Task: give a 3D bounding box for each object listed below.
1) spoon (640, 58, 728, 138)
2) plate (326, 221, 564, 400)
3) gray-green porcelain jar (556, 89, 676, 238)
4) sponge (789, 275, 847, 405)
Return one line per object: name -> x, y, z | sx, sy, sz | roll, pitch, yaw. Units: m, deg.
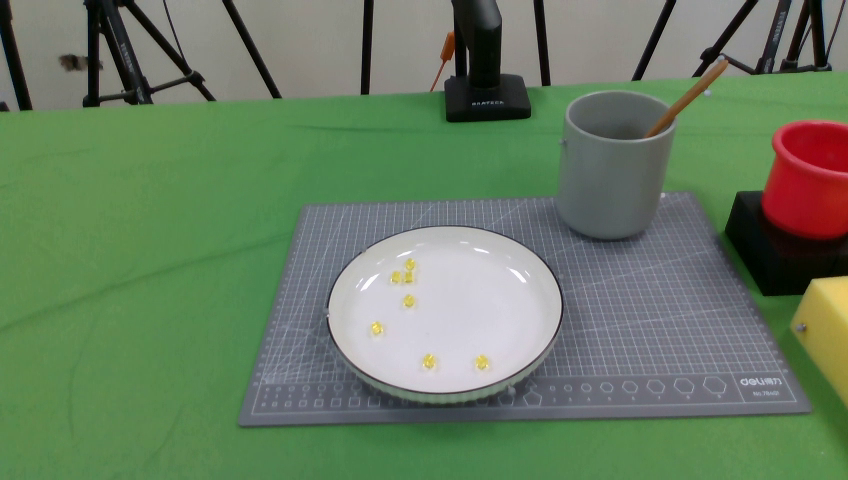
spoon -> 0.218, -0.097, 0.589 | 0.022, 0.194, 0.041 | 30, 38, -4
plate -> 0.019, 0.060, 0.544 | 0.207, 0.039, 0.205 | -2, 40, 2
gray-green porcelain jar -> 0.191, -0.074, 0.622 | 0.106, 0.127, 0.105 | -2, 40, 2
sponge -> 0.387, 0.112, 0.440 | 0.118, 0.061, 0.204 | -6, 39, -2
